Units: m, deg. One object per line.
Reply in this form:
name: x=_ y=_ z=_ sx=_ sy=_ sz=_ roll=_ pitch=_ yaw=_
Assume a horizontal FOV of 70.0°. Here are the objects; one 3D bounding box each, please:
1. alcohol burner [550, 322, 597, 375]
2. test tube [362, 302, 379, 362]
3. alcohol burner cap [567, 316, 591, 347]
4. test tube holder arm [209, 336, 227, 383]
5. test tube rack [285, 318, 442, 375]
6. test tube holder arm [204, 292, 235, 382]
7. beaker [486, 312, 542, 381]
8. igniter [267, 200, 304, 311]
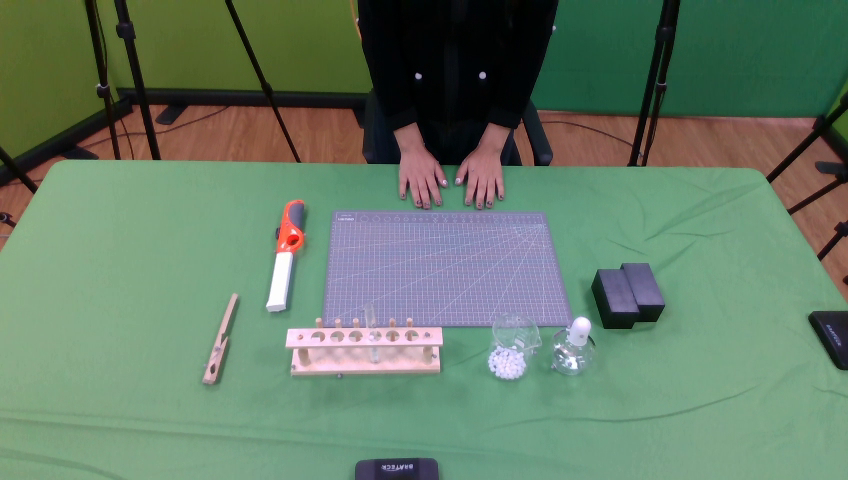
alcohol burner: x=0.248 y=0.168 z=0.991 sx=0.078 sy=0.119 sz=0.077 roll=2 pitch=48 yaw=-2
test tube: x=-0.082 y=0.146 z=0.939 sx=0.017 sy=0.151 sz=0.017 roll=0 pitch=48 yaw=1
alcohol burner cap: x=0.248 y=0.143 z=0.965 sx=0.034 sy=0.048 sz=0.033 roll=4 pitch=40 yaw=-3
test tube holder arm: x=-0.338 y=0.193 z=0.991 sx=0.010 sy=0.015 sz=0.087 roll=28 pitch=39 yaw=-26
test tube rack: x=-0.095 y=0.168 z=0.986 sx=0.242 sy=0.085 sz=0.066 roll=0 pitch=46 yaw=-4
test tube holder arm: x=-0.343 y=0.159 z=1.020 sx=0.013 sy=0.015 sz=0.177 roll=27 pitch=39 yaw=-27
beaker: x=0.144 y=0.177 z=0.985 sx=0.084 sy=0.101 sz=0.074 roll=22 pitch=49 yaw=16
igniter: x=-0.263 y=0.020 z=1.156 sx=0.057 sy=0.025 sz=0.274 roll=-6 pitch=46 yaw=4
